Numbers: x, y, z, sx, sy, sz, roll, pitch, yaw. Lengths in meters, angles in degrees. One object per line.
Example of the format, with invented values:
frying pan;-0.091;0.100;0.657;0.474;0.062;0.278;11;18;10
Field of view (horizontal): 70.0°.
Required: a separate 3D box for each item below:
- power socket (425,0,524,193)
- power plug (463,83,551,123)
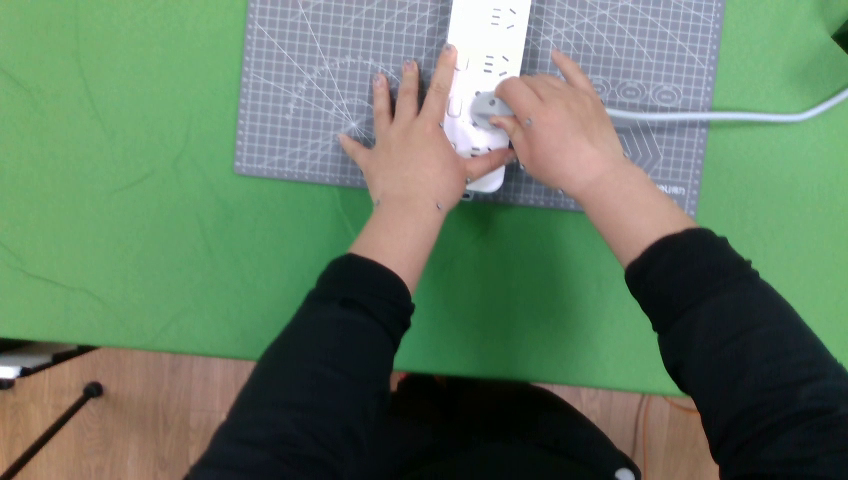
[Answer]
power socket;0.048;-0.157;0.562;0.072;0.032;0.227;7;95;-2
power plug;0.071;-0.117;0.547;0.072;0.052;0.035;22;92;-3
